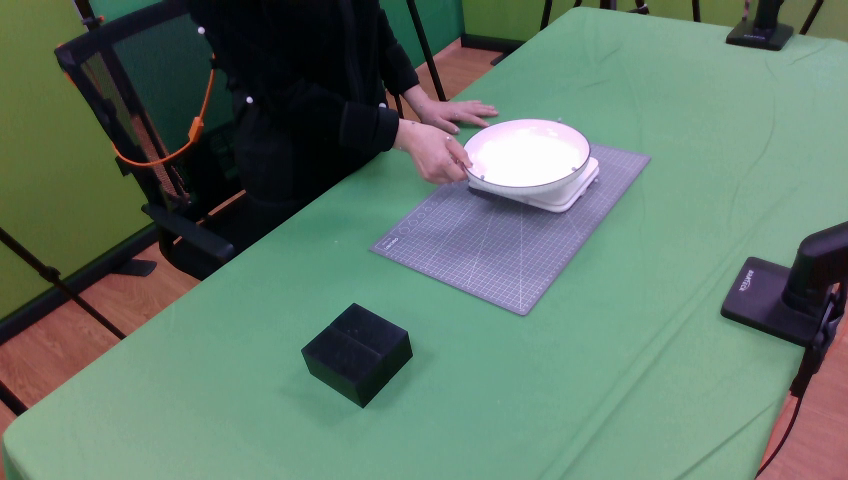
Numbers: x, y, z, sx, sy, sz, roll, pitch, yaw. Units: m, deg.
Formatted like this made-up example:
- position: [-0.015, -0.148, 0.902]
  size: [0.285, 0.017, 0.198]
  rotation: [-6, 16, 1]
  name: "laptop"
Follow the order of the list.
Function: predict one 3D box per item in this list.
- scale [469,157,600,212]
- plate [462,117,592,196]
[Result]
- position: [0.194, -0.117, 1.075]
  size: [0.199, 0.032, 0.149]
  rotation: [21, 48, 32]
  name: "scale"
- position: [0.167, -0.134, 0.991]
  size: [0.209, 0.038, 0.208]
  rotation: [-5, 40, 5]
  name: "plate"
